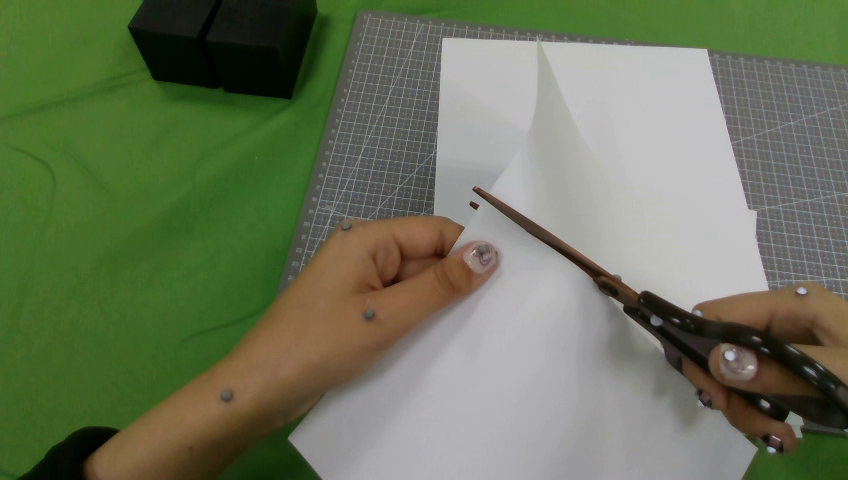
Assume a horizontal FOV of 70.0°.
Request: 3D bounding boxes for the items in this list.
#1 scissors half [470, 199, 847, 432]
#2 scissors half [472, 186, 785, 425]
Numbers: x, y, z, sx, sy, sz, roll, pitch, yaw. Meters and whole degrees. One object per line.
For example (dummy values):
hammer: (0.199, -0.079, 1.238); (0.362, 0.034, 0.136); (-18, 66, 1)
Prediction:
scissors half: (0.091, 0.023, 0.255); (0.174, 0.040, 0.013); (31, 74, 24)
scissors half: (0.091, 0.029, 0.277); (0.175, 0.040, 0.013); (38, 80, -5)
